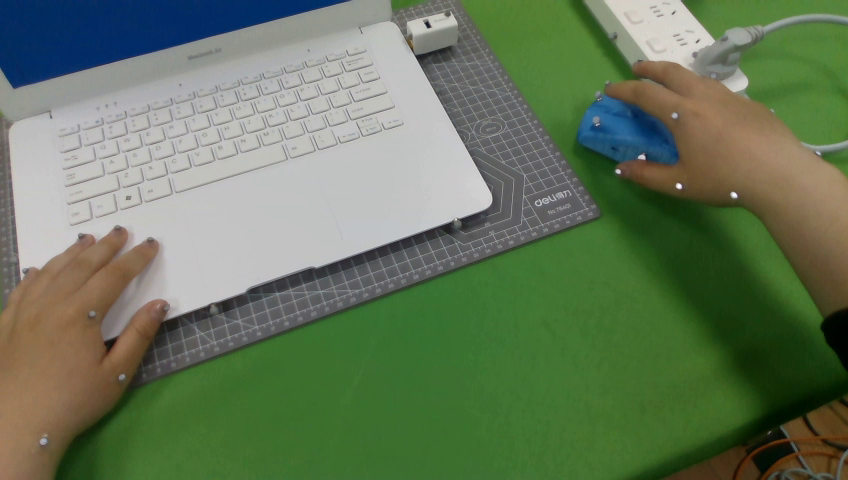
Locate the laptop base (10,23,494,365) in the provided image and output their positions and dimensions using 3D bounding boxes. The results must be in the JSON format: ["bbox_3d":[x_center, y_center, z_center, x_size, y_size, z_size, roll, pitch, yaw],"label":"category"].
[{"bbox_3d":[-0.148,-0.059,0.503,0.355,0.023,0.233,-19,63,-11],"label":"laptop base"}]

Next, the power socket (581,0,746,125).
[{"bbox_3d":[0.218,-0.196,0.575,0.072,0.033,0.224,-15,59,-7],"label":"power socket"}]

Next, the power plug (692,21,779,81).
[{"bbox_3d":[0.271,-0.156,0.526,0.072,0.053,0.035,-8,61,-5],"label":"power plug"}]

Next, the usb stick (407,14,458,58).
[{"bbox_3d":[0.001,-0.190,0.568,0.059,0.027,0.021,-19,60,-7],"label":"usb stick"}]

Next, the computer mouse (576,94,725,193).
[{"bbox_3d":[0.189,-0.088,0.507,0.116,0.041,0.062,27,63,22],"label":"computer mouse"}]

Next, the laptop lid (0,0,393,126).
[{"bbox_3d":[-0.204,-0.232,0.475,0.357,0.244,0.013,-20,47,-10],"label":"laptop lid"}]
